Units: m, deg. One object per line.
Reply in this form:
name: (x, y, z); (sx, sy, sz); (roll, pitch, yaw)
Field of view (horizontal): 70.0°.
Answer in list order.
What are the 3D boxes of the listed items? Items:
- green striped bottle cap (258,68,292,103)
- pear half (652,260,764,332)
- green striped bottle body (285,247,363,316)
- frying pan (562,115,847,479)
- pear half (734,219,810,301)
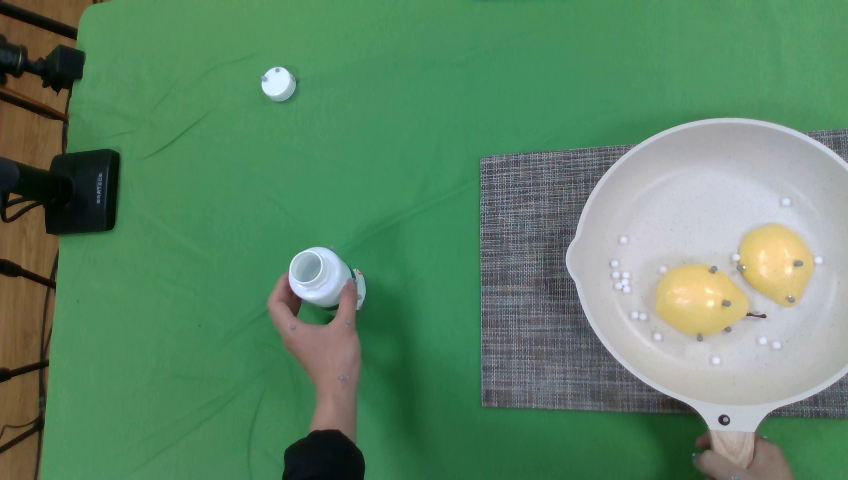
green striped bottle cap: (-0.205, -0.212, 0.831); (0.044, 0.020, 0.044); (-3, 80, 15)
pear half: (0.298, 0.061, 0.630); (0.109, 0.056, 0.076); (10, 89, 14)
green striped bottle body: (-0.119, 0.048, 0.710); (0.063, 0.120, 0.063); (-4, 71, 11)
frying pan: (0.293, 0.119, 0.598); (0.306, 0.103, 0.485); (0, 73, 16)
pear half: (0.365, 0.019, 0.630); (0.070, 0.031, 0.087); (-19, 74, 16)
